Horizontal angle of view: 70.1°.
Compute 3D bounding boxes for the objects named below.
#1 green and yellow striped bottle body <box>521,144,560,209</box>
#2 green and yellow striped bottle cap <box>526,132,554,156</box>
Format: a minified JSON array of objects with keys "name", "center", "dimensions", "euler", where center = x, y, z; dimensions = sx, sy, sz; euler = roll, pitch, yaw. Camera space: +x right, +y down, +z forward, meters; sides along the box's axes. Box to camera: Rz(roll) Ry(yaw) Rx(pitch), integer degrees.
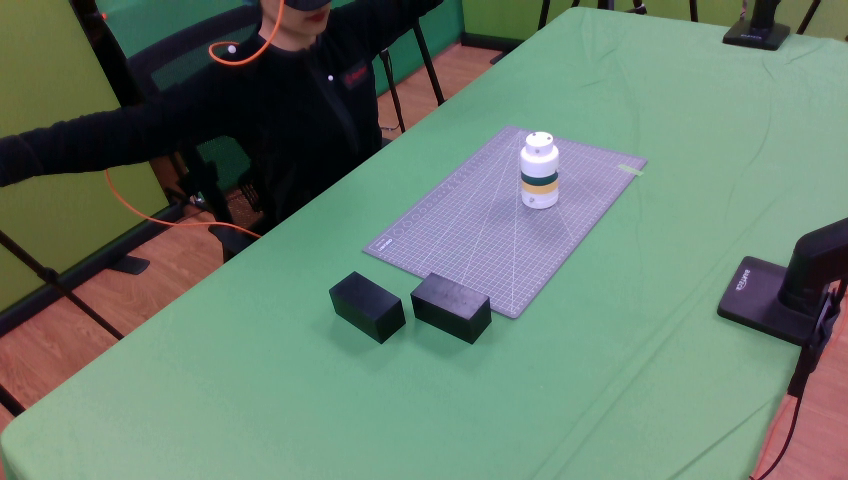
[{"name":"green and yellow striped bottle body","center":[0.193,-0.116,1.002],"dimensions":[0.063,0.120,0.063],"euler":[-5,40,5]},{"name":"green and yellow striped bottle cap","center":[0.186,-0.154,0.968],"dimensions":[0.045,0.020,0.045],"euler":[-5,38,5]}]
